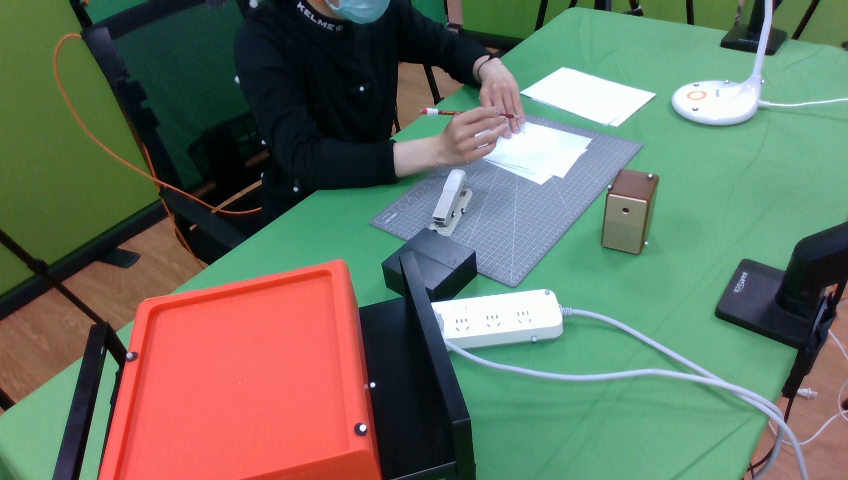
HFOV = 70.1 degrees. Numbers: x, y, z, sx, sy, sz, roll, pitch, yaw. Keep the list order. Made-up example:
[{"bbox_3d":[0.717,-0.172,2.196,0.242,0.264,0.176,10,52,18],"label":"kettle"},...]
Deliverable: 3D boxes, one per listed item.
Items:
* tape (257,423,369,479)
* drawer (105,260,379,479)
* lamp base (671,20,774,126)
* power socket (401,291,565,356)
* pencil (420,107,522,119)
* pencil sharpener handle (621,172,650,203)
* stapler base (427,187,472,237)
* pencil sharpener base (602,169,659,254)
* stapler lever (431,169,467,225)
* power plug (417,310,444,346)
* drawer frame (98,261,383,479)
[{"bbox_3d":[-0.121,0.262,0.660,0.117,0.053,0.116,-4,40,4],"label":"tape"},{"bbox_3d":[-0.150,0.127,0.525,0.195,0.073,0.210,-11,41,-5],"label":"drawer"},{"bbox_3d":[0.581,-0.332,1.154,0.179,0.181,0.160,2,41,7],"label":"lamp base"},{"bbox_3d":[0.080,0.112,0.822,0.227,0.033,0.072,-6,41,0],"label":"power socket"},{"bbox_3d":[0.084,-0.218,1.048,0.195,0.012,0.012,-1,37,-21],"label":"pencil"},{"bbox_3d":[0.328,-0.086,0.941,0.036,0.068,0.030,30,49,7],"label":"pencil sharpener handle"},{"bbox_3d":[0.045,-0.057,1.028,0.041,0.024,0.130,10,45,20],"label":"stapler base"},{"bbox_3d":[0.312,-0.044,0.914,0.061,0.107,0.077,14,45,24],"label":"pencil sharpener base"},{"bbox_3d":[0.043,-0.074,1.010,0.026,0.040,0.118,10,45,20],"label":"stapler lever"},{"bbox_3d":[0.006,0.122,0.785,0.035,0.053,0.072,-1,40,9],"label":"power plug"},{"bbox_3d":[-0.148,0.129,0.520,0.202,0.083,0.212,-12,41,-6],"label":"drawer frame"}]
